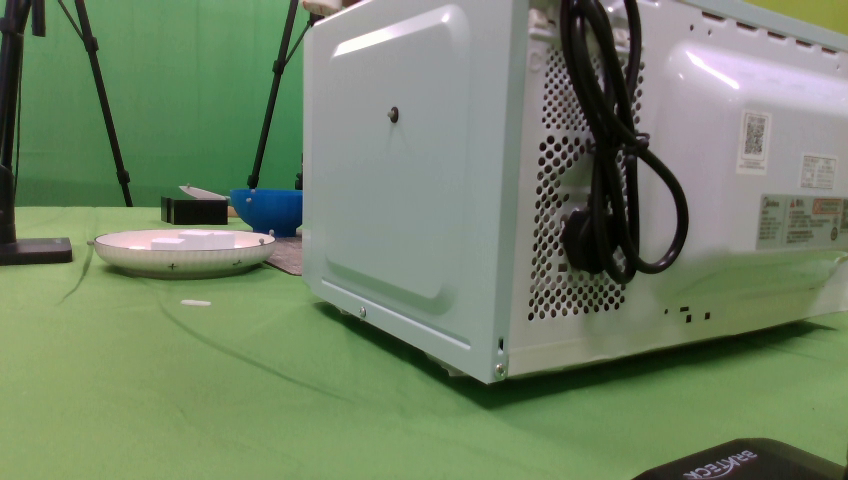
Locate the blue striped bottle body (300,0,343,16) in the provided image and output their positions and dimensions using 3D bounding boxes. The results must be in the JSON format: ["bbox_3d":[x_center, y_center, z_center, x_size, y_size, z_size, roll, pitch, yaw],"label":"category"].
[{"bbox_3d":[-0.147,-0.405,0.909,0.063,0.120,0.063,9,5,-1],"label":"blue striped bottle body"}]

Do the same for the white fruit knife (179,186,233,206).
[{"bbox_3d":[-0.413,-0.081,1.270,0.208,0.027,0.016,17,13,-41],"label":"white fruit knife"}]

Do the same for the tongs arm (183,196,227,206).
[{"bbox_3d":[-0.404,-0.081,1.479,0.385,0.026,0.050,3,8,-2],"label":"tongs arm"}]

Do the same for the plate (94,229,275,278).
[{"bbox_3d":[-0.291,0.016,0.750,0.208,0.039,0.207,2,7,0],"label":"plate"}]

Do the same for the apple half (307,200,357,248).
[{"bbox_3d":[-0.135,-0.024,0.942,0.053,0.074,0.081,13,8,38],"label":"apple half"}]

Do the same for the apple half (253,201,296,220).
[{"bbox_3d":[-0.264,-0.053,1.067,0.081,0.033,0.081,1,8,0],"label":"apple half"}]

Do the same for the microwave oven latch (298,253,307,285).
[{"bbox_3d":[-0.082,0.027,0.583,0.079,0.029,0.030,-2,8,-34],"label":"microwave oven latch"}]

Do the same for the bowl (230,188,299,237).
[{"bbox_3d":[-0.264,-0.048,1.066,0.151,0.077,0.151,3,8,0],"label":"bowl"}]

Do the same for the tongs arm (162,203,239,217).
[{"bbox_3d":[-0.396,-0.067,1.399,0.389,0.028,0.028,1,5,-15],"label":"tongs arm"}]

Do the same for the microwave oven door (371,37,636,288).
[{"bbox_3d":[0.109,-0.080,0.686,0.358,0.243,0.039,-2,9,-33],"label":"microwave oven door"}]

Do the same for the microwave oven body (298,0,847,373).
[{"bbox_3d":[0.151,-0.055,0.542,0.444,0.260,0.324,-2,7,-33],"label":"microwave oven body"}]
